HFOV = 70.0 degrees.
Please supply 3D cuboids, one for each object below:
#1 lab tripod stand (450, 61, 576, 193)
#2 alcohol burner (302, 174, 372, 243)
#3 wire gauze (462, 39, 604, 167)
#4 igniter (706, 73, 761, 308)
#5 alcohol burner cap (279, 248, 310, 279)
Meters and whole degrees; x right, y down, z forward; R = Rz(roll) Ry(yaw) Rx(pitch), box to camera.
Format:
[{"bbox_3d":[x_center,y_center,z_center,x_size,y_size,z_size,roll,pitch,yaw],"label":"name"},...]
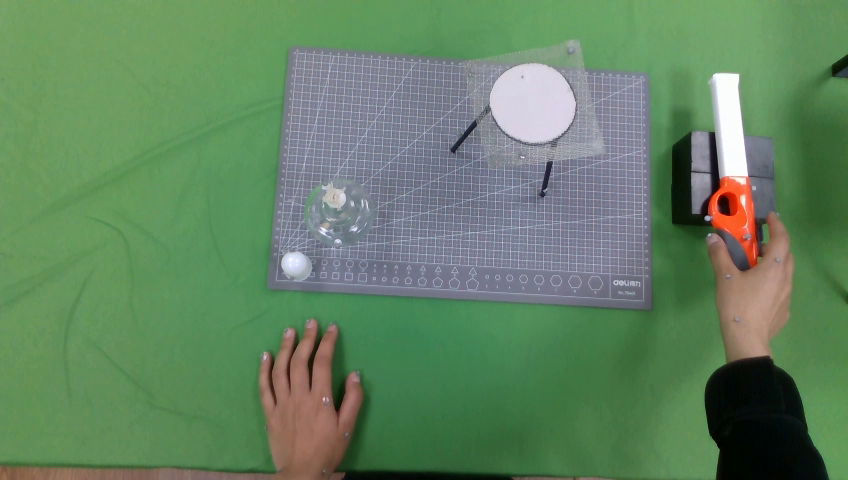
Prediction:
[{"bbox_3d":[0.107,-0.132,0.675,0.148,0.132,0.147,1,78,-2],"label":"lab tripod stand"},{"bbox_3d":[-0.095,-0.037,0.655,0.078,0.119,0.077,1,81,-5],"label":"alcohol burner"},{"bbox_3d":[0.110,-0.137,0.608,0.125,0.011,0.121,-10,81,-5],"label":"wire gauze"},{"bbox_3d":[0.348,-0.060,0.689,0.057,0.025,0.275,2,78,-1],"label":"igniter"},{"bbox_3d":[-0.147,0.025,0.677,0.034,0.048,0.033,1,80,-4],"label":"alcohol burner cap"}]
